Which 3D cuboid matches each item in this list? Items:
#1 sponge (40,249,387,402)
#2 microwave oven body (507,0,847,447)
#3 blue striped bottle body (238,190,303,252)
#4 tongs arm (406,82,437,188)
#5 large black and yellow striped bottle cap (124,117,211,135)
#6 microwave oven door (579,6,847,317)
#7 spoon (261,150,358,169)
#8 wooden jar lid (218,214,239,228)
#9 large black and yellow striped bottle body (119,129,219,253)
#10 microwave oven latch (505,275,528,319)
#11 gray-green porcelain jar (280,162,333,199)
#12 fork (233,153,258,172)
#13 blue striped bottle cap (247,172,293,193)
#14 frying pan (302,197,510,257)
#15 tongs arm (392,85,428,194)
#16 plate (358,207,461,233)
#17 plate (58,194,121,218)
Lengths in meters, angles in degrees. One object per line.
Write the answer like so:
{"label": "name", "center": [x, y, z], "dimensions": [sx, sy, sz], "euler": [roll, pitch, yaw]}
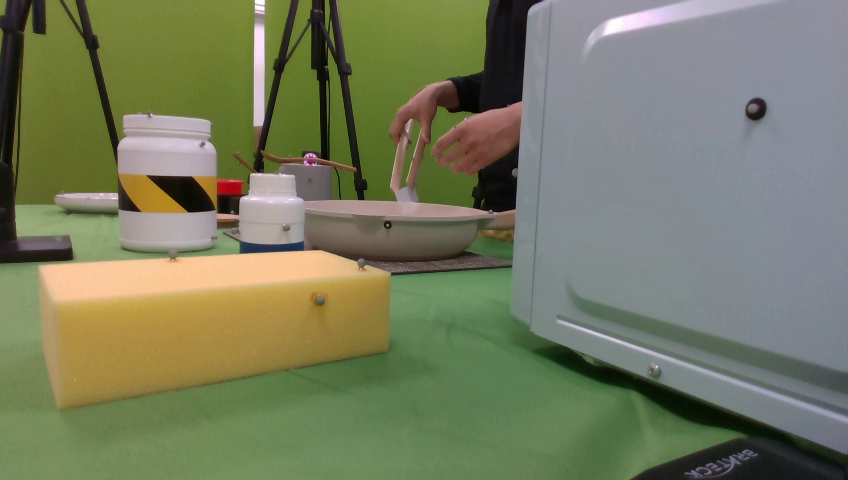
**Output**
{"label": "sponge", "center": [-0.142, 0.047, 0.420], "dimensions": [0.208, 0.061, 0.117], "euler": [-3, 8, -36]}
{"label": "microwave oven body", "center": [0.331, -0.042, 0.425], "dimensions": [0.444, 0.260, 0.324], "euler": [-2, 8, -31]}
{"label": "blue striped bottle body", "center": [-0.153, -0.007, 0.606], "dimensions": [0.063, 0.120, 0.063], "euler": [2, 7, 0]}
{"label": "tongs arm", "center": [-0.012, -0.240, 1.326], "dimensions": [0.050, 0.026, 0.384], "euler": [-21, 37, 32]}
{"label": "large black and yellow striped bottle cap", "center": [-0.366, -0.163, 0.866], "dimensions": [0.115, 0.019, 0.115], "euler": [3, 7, 0]}
{"label": "microwave oven door", "center": [0.294, -0.067, 0.570], "dimensions": [0.358, 0.243, 0.039], "euler": [-3, 9, -31]}
{"label": "spoon", "center": [-0.229, -0.162, 1.222], "dimensions": [0.194, 0.021, 0.041], "euler": [3, 3, -16]}
{"label": "wooden jar lid", "center": [-0.404, -0.037, 1.169], "dimensions": [0.108, 0.020, 0.108], "euler": [3, 7, 0]}
{"label": "large black and yellow striped bottle body", "center": [-0.367, -0.080, 0.876], "dimensions": [0.131, 0.184, 0.130], "euler": [2, 7, 0]}
{"label": "microwave oven latch", "center": [0.100, 0.041, 0.471], "dimensions": [0.079, 0.029, 0.030], "euler": [-1, 7, -28]}
{"label": "gray-green porcelain jar", "center": [-0.238, -0.092, 1.221], "dimensions": [0.106, 0.126, 0.106], "euler": [2, 7, 0]}
{"label": "fork", "center": [-0.396, -0.144, 1.486], "dimensions": [0.028, 0.018, 0.208], "euler": [20, -25, 45]}
{"label": "blue striped bottle cap", "center": [-0.152, -0.057, 0.598], "dimensions": [0.044, 0.020, 0.044], "euler": [3, 6, 0]}
{"label": "frying pan", "center": [0.050, -0.035, 0.915], "dimensions": [0.487, 0.102, 0.307], "euler": [-5, 7, 10]}
{"label": "tongs arm", "center": [-0.031, -0.232, 1.337], "dimensions": [0.028, 0.028, 0.387], "euler": [-28, 34, 31]}
{"label": "plate", "center": [-0.030, -0.041, 1.213], "dimensions": [0.208, 0.039, 0.207], "euler": [3, 6, 0]}
{"label": "plate", "center": [-0.671, -0.074, 1.310], "dimensions": [0.209, 0.038, 0.209], "euler": [2, 8, 0]}
